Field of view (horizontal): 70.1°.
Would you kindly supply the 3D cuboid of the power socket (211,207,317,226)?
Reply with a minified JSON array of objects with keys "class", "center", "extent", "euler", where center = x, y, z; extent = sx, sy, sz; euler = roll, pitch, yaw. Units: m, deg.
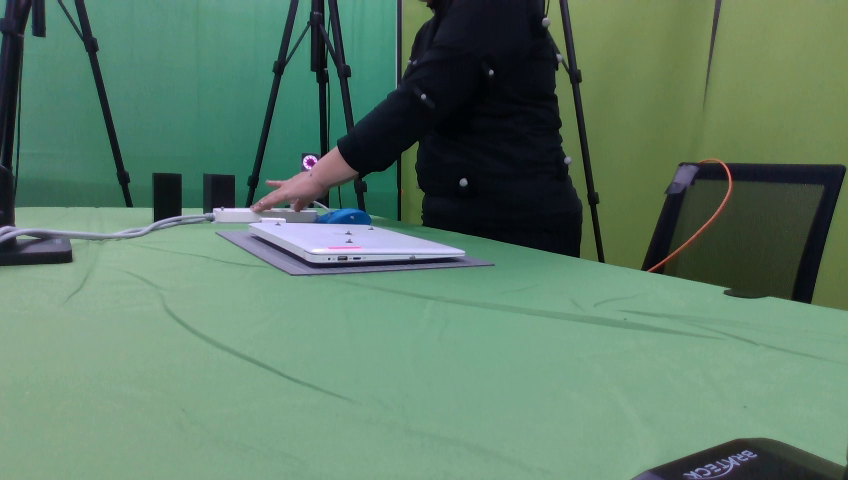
[{"class":"power socket","center":[-0.334,-0.051,1.281],"extent":[0.228,0.032,0.072],"euler":[-1,9,-28]}]

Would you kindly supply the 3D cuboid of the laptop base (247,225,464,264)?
[{"class":"laptop base","center":[-0.124,0.006,0.955],"extent":[0.237,0.023,0.352],"euler":[2,6,-30]}]

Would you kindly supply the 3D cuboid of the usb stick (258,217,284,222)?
[{"class":"usb stick","center":[-0.291,-0.028,1.119],"extent":[0.059,0.027,0.021],"euler":[-2,11,-28]}]

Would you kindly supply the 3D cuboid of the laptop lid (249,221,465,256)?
[{"class":"laptop lid","center":[-0.122,-0.005,0.955],"extent":[0.243,0.013,0.355],"euler":[2,7,-28]}]

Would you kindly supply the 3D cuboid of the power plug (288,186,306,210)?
[{"class":"power plug","center":[-0.283,-0.084,1.340],"extent":[0.035,0.052,0.072],"euler":[7,19,-22]}]

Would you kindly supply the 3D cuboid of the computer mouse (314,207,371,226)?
[{"class":"computer mouse","center":[-0.175,-0.047,1.292],"extent":[0.118,0.041,0.062],"euler":[-8,15,-33]}]
